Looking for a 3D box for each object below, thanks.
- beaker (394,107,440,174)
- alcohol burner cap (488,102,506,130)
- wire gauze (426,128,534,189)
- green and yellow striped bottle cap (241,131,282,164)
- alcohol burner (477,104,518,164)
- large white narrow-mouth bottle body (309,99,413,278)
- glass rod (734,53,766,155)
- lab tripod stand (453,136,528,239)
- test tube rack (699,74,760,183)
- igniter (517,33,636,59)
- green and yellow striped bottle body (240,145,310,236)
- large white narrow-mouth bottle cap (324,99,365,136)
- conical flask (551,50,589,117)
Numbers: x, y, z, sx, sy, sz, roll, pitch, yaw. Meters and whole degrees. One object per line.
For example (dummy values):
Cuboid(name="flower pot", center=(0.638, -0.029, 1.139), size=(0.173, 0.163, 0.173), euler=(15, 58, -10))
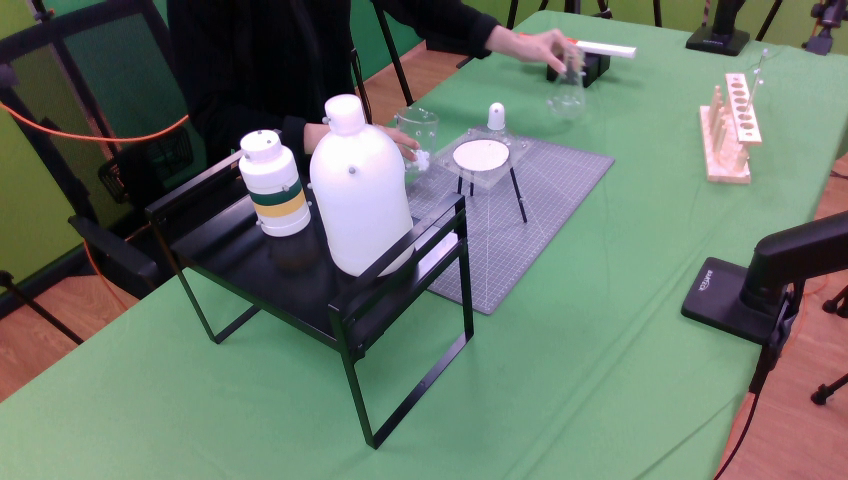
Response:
Cuboid(name="beaker", center=(-0.015, -0.174, 1.064), size=(0.073, 0.100, 0.084), euler=(20, 33, 16))
Cuboid(name="alcohol burner cap", center=(0.133, -0.227, 1.092), size=(0.034, 0.048, 0.033), euler=(-1, 47, 2))
Cuboid(name="wire gauze", center=(0.086, -0.131, 0.924), size=(0.124, 0.011, 0.122), euler=(26, 52, 33))
Cuboid(name="green and yellow striped bottle cap", center=(-0.187, -0.107, 0.695), size=(0.045, 0.020, 0.045), euler=(-3, 39, 3))
Cuboid(name="alcohol burner", center=(0.135, -0.200, 1.117), size=(0.078, 0.119, 0.077), euler=(-4, 43, 4))
Cuboid(name="large white narrow-mouth bottle body", center=(-0.069, -0.057, 0.644), size=(0.102, 0.195, 0.101), euler=(-3, 42, 4))
Cuboid(name="glass rod", center=(0.540, -0.220, 1.007), size=(0.008, 0.201, 0.008), euler=(-5, 46, 6))
Cuboid(name="lab tripod stand", center=(0.094, -0.086, 0.974), size=(0.148, 0.132, 0.147), euler=(-4, 43, 4))
Cuboid(name="test tube rack", center=(0.547, -0.208, 1.095), size=(0.066, 0.085, 0.242), euler=(6, 42, 15))
Cuboid(name="igniter", center=(0.336, -0.441, 1.369), size=(0.275, 0.025, 0.057), euler=(16, 41, 23))
Cuboid(name="green and yellow striped bottle body", center=(-0.181, -0.068, 0.729), size=(0.063, 0.120, 0.063), euler=(-4, 40, 4))
Cuboid(name="large white narrow-mouth bottle cap", center=(-0.076, -0.119, 0.586), size=(0.038, 0.024, 0.037), euler=(-3, 42, 3))
Cuboid(name="conical flask", center=(0.292, -0.306, 1.174), size=(0.075, 0.122, 0.075), euler=(-1, 47, 1))
